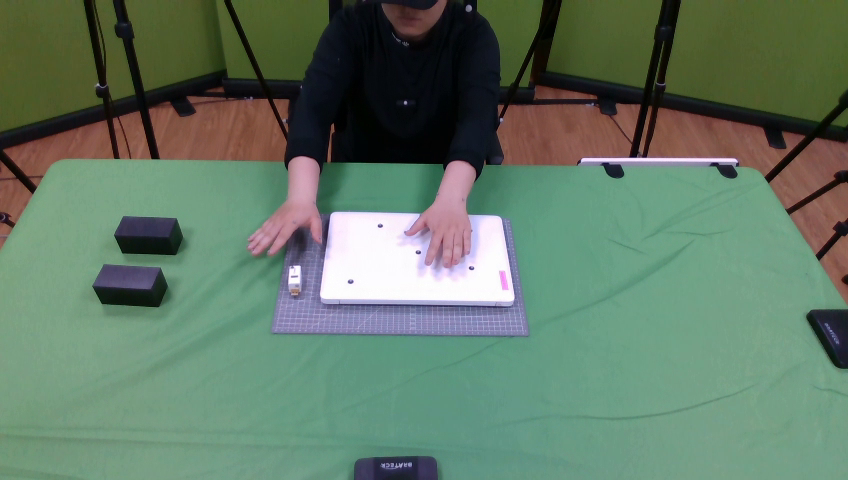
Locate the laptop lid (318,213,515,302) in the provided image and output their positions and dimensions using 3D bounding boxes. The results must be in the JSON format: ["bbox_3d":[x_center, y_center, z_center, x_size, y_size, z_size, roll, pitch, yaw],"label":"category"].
[{"bbox_3d":[-0.014,0.027,1.156,0.357,0.013,0.240,2,43,-2],"label":"laptop lid"}]

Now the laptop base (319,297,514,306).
[{"bbox_3d":[-0.015,0.037,1.162,0.354,0.023,0.234,1,42,-3],"label":"laptop base"}]

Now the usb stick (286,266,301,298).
[{"bbox_3d":[-0.236,0.077,1.097,0.021,0.027,0.059,-3,51,-4],"label":"usb stick"}]
